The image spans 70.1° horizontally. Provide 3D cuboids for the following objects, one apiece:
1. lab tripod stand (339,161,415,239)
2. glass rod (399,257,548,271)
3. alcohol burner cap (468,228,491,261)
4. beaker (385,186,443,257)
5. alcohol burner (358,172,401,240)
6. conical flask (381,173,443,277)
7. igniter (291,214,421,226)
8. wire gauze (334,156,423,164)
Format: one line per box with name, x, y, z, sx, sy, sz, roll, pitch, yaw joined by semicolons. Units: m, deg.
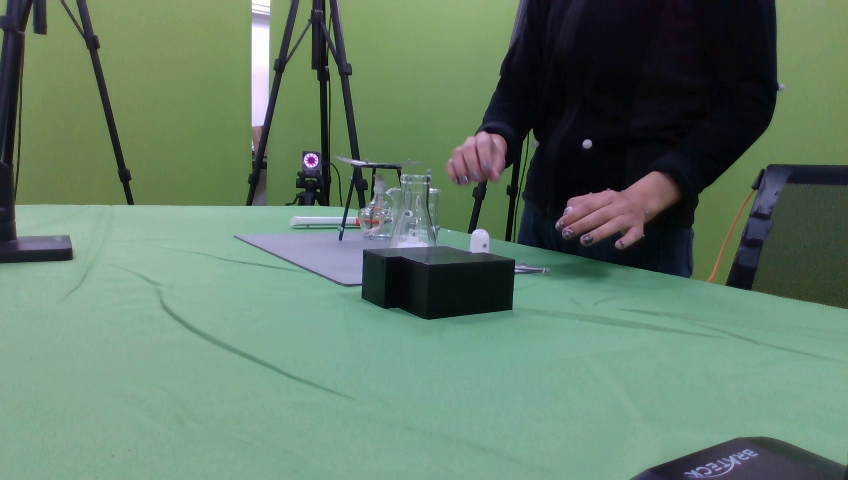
lab tripod stand;-0.082;-0.070;1.059;0.148;0.131;0.148;4;6;0
glass rod;0.064;0.031;0.806;0.199;0.008;0.008;3;7;10
alcohol burner cap;0.082;0.006;0.878;0.034;0.048;0.034;3;7;0
beaker;-0.015;-0.028;0.886;0.084;0.100;0.074;0;7;-9
alcohol burner;-0.077;-0.061;1.065;0.078;0.119;0.078;4;9;0
conical flask;-0.012;-0.020;0.731;0.075;0.122;0.075;2;8;0
igniter;-0.135;-0.041;1.250;0.278;0.025;0.057;-1;-3;-28
wire gauze;-0.081;-0.137;1.051;0.122;0.011;0.124;0;8;-30
